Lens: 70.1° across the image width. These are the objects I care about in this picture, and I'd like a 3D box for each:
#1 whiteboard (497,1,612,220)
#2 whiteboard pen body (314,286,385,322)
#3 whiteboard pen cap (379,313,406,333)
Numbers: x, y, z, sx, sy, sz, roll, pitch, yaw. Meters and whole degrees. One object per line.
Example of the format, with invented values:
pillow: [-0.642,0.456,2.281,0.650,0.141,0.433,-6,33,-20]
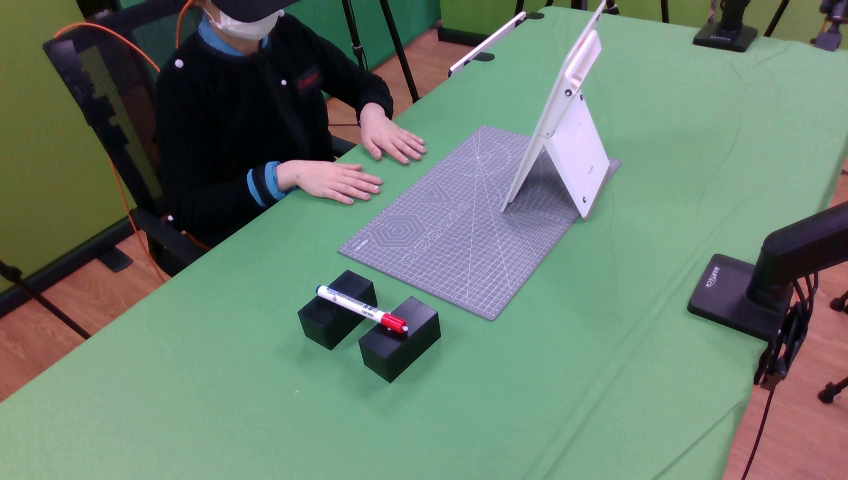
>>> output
whiteboard: [0.260,-0.178,0.963,0.143,0.306,0.217,28,49,9]
whiteboard pen body: [-0.089,0.089,0.802,0.139,0.017,0.017,19,47,27]
whiteboard pen cap: [-0.041,0.106,0.776,0.032,0.017,0.017,18,46,24]
